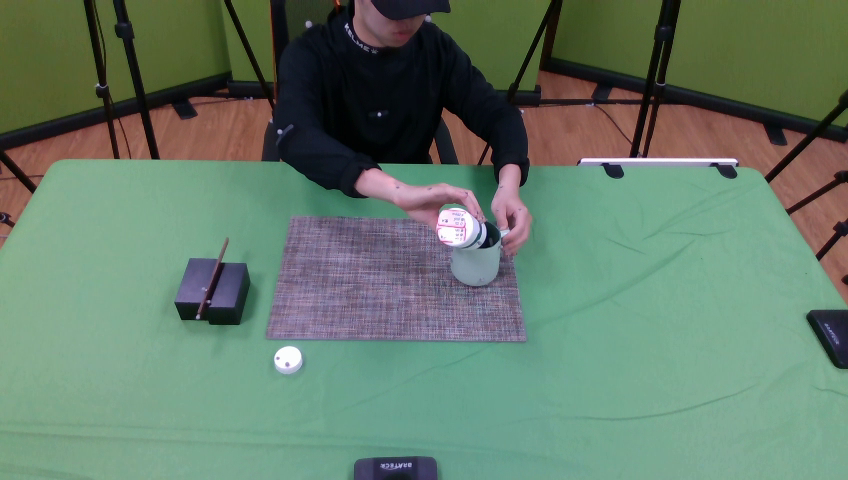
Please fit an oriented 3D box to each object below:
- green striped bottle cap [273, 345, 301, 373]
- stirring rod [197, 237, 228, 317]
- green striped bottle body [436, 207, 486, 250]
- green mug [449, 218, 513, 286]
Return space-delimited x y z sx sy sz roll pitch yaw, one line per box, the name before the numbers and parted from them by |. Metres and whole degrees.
green striped bottle cap | -0.225 0.195 0.997 0.044 0.020 0.044 2 50 -2
stirring rod | -0.363 0.060 1.047 0.006 0.014 0.175 7 46 -3
green striped bottle body | 0.066 -0.017 1.018 0.063 0.119 0.063 -2 85 18
green mug | 0.110 0.018 1.126 0.125 0.105 0.092 -19 50 -21
